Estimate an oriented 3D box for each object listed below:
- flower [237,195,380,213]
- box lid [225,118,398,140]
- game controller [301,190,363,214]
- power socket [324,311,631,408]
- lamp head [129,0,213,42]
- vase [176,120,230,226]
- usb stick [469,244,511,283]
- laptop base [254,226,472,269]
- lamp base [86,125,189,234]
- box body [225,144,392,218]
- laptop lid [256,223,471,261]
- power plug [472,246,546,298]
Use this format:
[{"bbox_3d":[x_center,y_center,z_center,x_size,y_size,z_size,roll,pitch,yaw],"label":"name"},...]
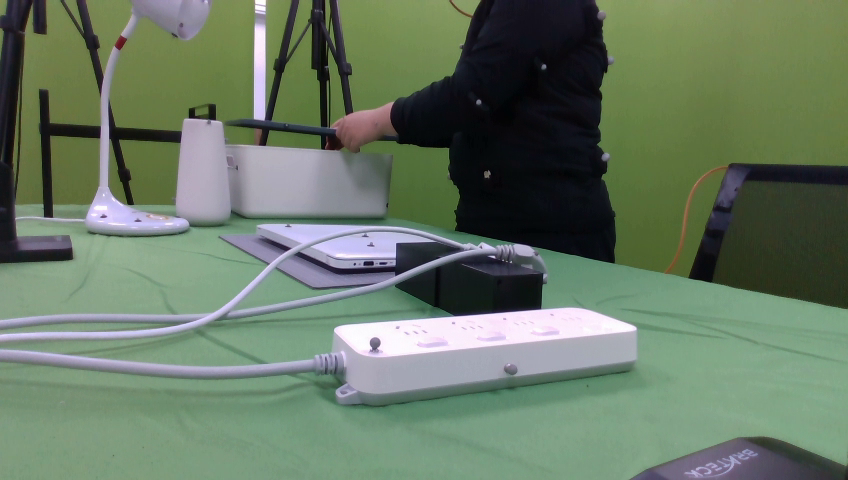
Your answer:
[{"bbox_3d":[-0.284,-0.081,1.481,0.361,0.038,0.044,4,33,8],"label":"flower"},{"bbox_3d":[-0.273,-0.263,1.452,0.373,0.015,0.262,1,8,-28],"label":"box lid"},{"bbox_3d":[-0.241,-0.099,1.552,0.155,0.051,0.097,3,13,5],"label":"game controller"},{"bbox_3d":[0.042,0.075,0.411,0.228,0.032,0.072,-1,8,-25],"label":"power socket"},{"bbox_3d":[-0.423,-0.394,0.980,0.123,0.112,0.112,20,7,-3],"label":"lamp head"},{"bbox_3d":[-0.424,-0.128,1.159,0.098,0.200,0.098,2,9,0],"label":"vase"},{"bbox_3d":[0.080,0.029,0.674,0.059,0.021,0.027,28,25,-29],"label":"usb stick"},{"bbox_3d":[-0.095,0.011,0.912,0.237,0.023,0.352,3,6,-32],"label":"laptop base"},{"bbox_3d":[-0.497,-0.105,1.027,0.179,0.180,0.160,1,7,3],"label":"lamp base"},{"bbox_3d":[-0.289,-0.143,1.475,0.366,0.160,0.253,-1,9,-29],"label":"box body"},{"bbox_3d":[-0.092,0.000,0.912,0.243,0.013,0.355,2,7,-30],"label":"laptop lid"},{"bbox_3d":[0.081,0.030,0.584,0.072,0.052,0.035,11,28,9],"label":"power plug"}]
